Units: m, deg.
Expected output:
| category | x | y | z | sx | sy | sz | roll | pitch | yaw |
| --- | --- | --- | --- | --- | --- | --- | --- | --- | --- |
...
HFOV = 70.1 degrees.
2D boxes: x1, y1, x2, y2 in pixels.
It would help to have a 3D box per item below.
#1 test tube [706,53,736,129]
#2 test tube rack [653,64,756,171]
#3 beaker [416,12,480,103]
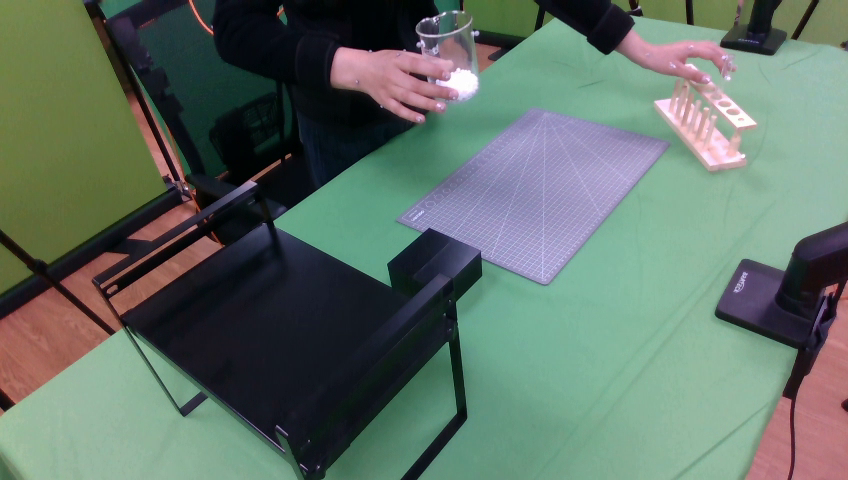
| category | x | y | z | sx | sy | sz | roll | pitch | yaw |
| --- | --- | --- | --- | --- | --- | --- | --- | --- | --- |
| test tube | 0.526 | -0.260 | 1.073 | 0.017 | 0.151 | 0.017 | -3 | 44 | 3 |
| test tube rack | 0.510 | -0.233 | 1.120 | 0.067 | 0.085 | 0.241 | -9 | 41 | -1 |
| beaker | 0.034 | -0.243 | 0.810 | 0.074 | 0.101 | 0.083 | -22 | 40 | -9 |
